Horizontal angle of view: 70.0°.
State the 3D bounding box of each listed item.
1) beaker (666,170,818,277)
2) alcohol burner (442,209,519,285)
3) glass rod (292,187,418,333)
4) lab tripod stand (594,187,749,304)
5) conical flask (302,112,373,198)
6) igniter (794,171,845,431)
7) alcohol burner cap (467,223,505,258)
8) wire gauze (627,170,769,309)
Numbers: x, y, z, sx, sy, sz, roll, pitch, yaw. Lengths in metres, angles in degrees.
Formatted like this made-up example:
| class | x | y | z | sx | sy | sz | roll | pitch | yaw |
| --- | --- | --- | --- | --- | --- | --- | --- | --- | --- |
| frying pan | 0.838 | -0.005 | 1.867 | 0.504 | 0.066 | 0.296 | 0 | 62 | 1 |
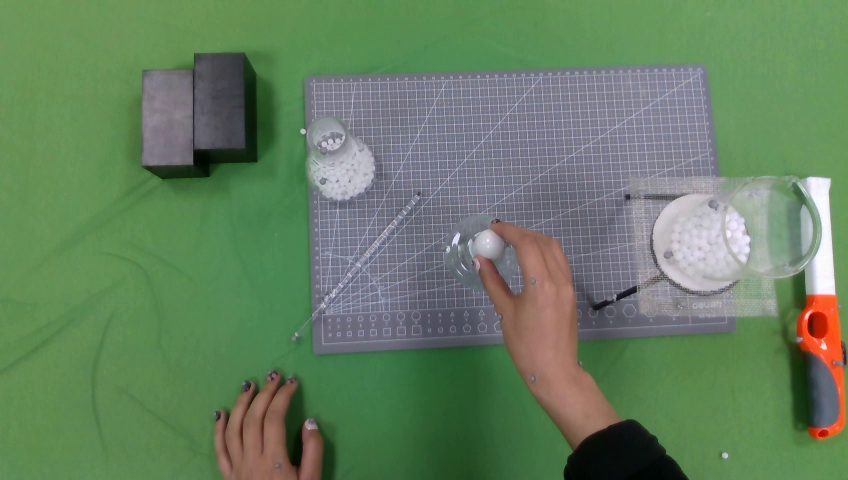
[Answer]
| class | x | y | z | sx | sy | sz | roll | pitch | yaw |
| --- | --- | --- | --- | --- | --- | --- | --- | --- | --- |
| beaker | 0.244 | -0.010 | 0.478 | 0.074 | 0.100 | 0.084 | 33 | 84 | 1 |
| alcohol burner | 0.057 | 0.005 | 0.592 | 0.078 | 0.119 | 0.077 | 0 | 83 | 0 |
| glass rod | -0.071 | 0.019 | 0.635 | 0.008 | 0.008 | 0.199 | 40 | 83 | 2 |
| lab tripod stand | 0.236 | 0.010 | 0.590 | 0.148 | 0.131 | 0.148 | 0 | 85 | -3 |
| conical flask | -0.089 | -0.088 | 0.591 | 0.075 | 0.122 | 0.075 | 0 | 82 | -2 |
| igniter | 0.422 | 0.063 | 0.650 | 0.057 | 0.025 | 0.275 | 3 | 83 | -13 |
| alcohol burner cap | 0.058 | -0.001 | 0.556 | 0.034 | 0.048 | 0.034 | 0 | 84 | -4 |
| wire gauze | 0.240 | 0.000 | 0.526 | 0.125 | 0.011 | 0.121 | 0 | 86 | -4 |
